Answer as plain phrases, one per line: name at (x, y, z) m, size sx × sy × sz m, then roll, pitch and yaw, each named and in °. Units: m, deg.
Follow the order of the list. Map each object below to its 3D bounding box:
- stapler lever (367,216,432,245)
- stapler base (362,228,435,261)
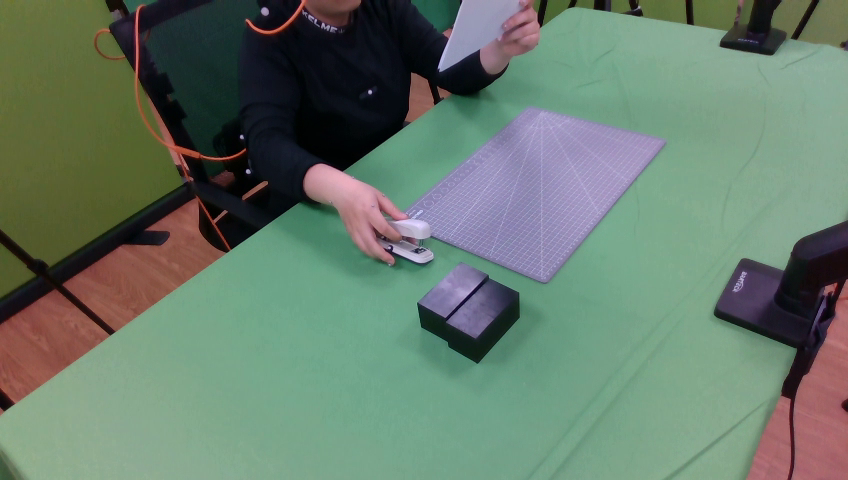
stapler lever at (-0.039, -0.023, 0.964) m, size 0.117 × 0.040 × 0.027 m, roll 20°, pitch 23°, yaw 31°
stapler base at (-0.040, 0.000, 0.973) m, size 0.129 × 0.024 × 0.041 m, roll 19°, pitch 23°, yaw 32°
